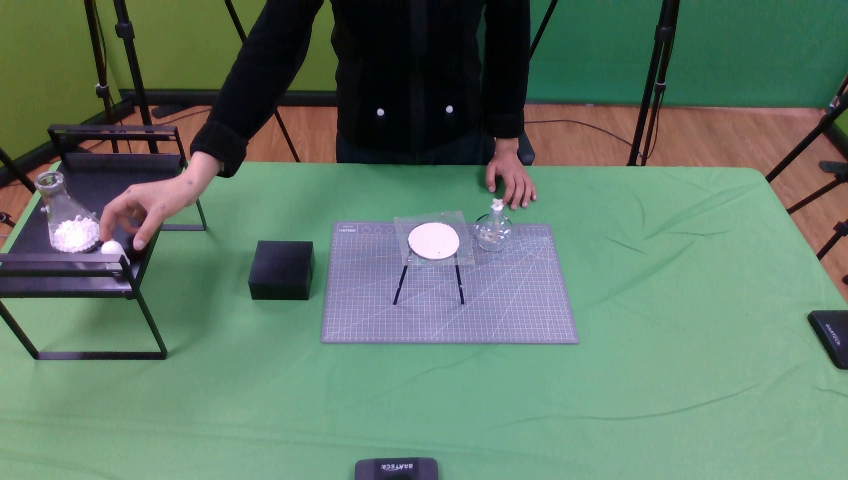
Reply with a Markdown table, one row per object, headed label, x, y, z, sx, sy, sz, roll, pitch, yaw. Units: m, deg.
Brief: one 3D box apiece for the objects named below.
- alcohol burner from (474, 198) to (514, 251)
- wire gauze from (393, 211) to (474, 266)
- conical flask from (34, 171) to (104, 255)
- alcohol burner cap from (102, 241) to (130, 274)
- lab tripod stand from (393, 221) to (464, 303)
| label | x | y | z | sx | sy | sz | roll | pitch | yaw |
| --- | --- | --- | --- | --- | --- | --- | --- | --- | --- |
| alcohol burner | 0.137 | -0.035 | 1.176 | 0.078 | 0.120 | 0.077 | 1 | 47 | -1 |
| wire gauze | 0.015 | -0.003 | 1.028 | 0.125 | 0.011 | 0.120 | -4 | 47 | -7 |
| conical flask | -0.522 | -0.043 | 0.879 | 0.075 | 0.122 | 0.075 | 2 | 46 | -2 |
| alcohol burner cap | -0.449 | 0.022 | 0.878 | 0.034 | 0.048 | 0.033 | 4 | 46 | -4 |
| lab tripod stand | 0.009 | 0.045 | 1.075 | 0.148 | 0.132 | 0.147 | 2 | 48 | -2 |
